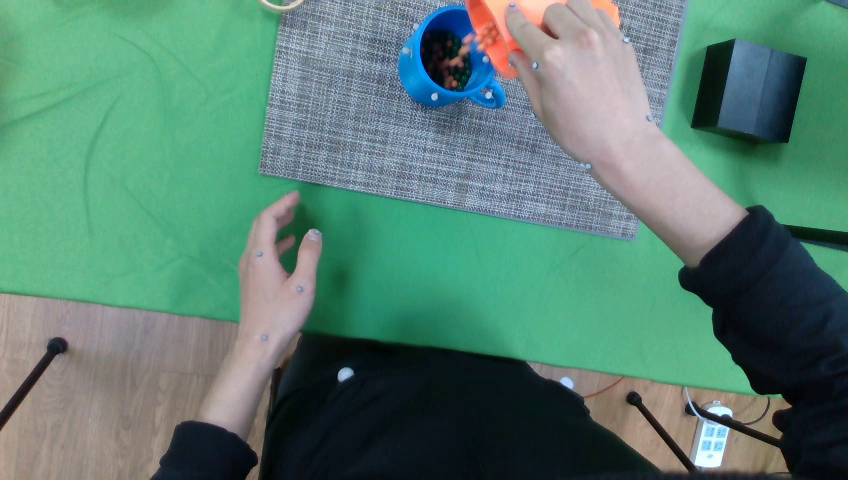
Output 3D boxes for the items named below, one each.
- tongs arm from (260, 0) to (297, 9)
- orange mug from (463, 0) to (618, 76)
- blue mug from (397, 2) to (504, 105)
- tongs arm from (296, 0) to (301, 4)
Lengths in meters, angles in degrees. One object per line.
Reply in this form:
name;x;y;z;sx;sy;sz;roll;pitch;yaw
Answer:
tongs arm;-0.232;-0.391;0.546;0.051;0.026;0.387;-30;110;-10
orange mug;0.100;-0.191;0.509;0.101;0.124;0.084;-26;136;3
blue mug;0.033;-0.176;0.618;0.117;0.105;0.082;36;90;-15
tongs arm;-0.157;-0.425;0.560;0.028;0.027;0.389;-18;109;-17
